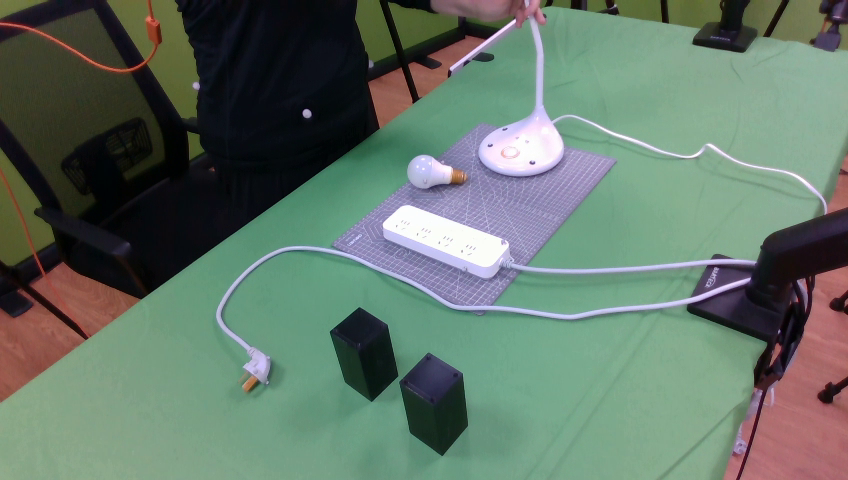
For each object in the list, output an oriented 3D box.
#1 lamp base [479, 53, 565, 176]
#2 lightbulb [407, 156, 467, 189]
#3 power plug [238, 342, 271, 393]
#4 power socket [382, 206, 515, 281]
[{"bbox_3d":[0.181,-0.235,1.093,0.159,0.181,0.179,18,44,27],"label":"lamp base"},{"bbox_3d":[0.023,-0.117,1.081,0.108,0.059,0.059,7,40,-7],"label":"lightbulb"},{"bbox_3d":[-0.230,0.172,0.801,0.072,0.035,0.053,10,51,50],"label":"power plug"},{"bbox_3d":[0.032,0.002,0.950,0.225,0.033,0.072,21,49,29],"label":"power socket"}]
